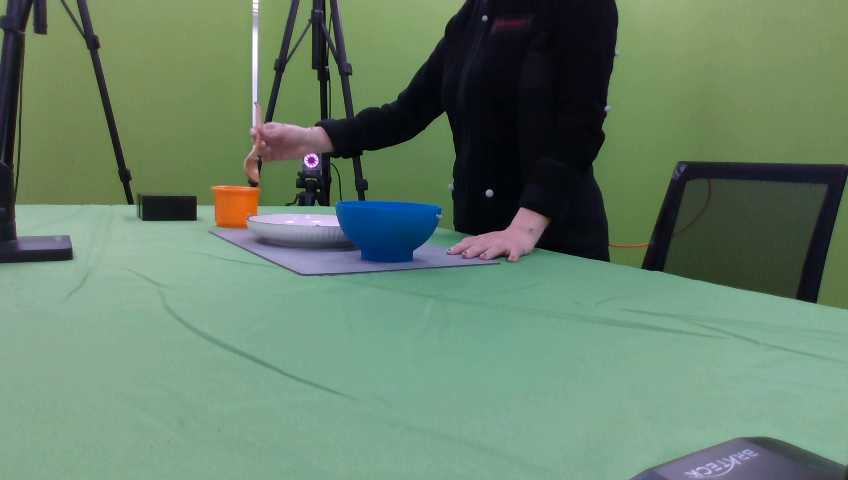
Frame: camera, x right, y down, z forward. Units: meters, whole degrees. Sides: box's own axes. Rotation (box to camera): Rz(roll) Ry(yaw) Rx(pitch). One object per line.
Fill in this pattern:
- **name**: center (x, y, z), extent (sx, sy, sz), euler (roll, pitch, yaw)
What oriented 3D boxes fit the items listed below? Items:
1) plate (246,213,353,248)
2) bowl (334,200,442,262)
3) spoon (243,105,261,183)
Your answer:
- **plate**: center (-0.185, -0.017, 0.995), extent (0.209, 0.038, 0.209), euler (3, 8, 0)
- **bowl**: center (-0.051, -0.013, 0.848), extent (0.151, 0.077, 0.151), euler (3, 7, 0)
- **spoon**: center (-0.330, -0.192, 1.184), extent (0.021, 0.193, 0.042), euler (-16, -33, 23)
